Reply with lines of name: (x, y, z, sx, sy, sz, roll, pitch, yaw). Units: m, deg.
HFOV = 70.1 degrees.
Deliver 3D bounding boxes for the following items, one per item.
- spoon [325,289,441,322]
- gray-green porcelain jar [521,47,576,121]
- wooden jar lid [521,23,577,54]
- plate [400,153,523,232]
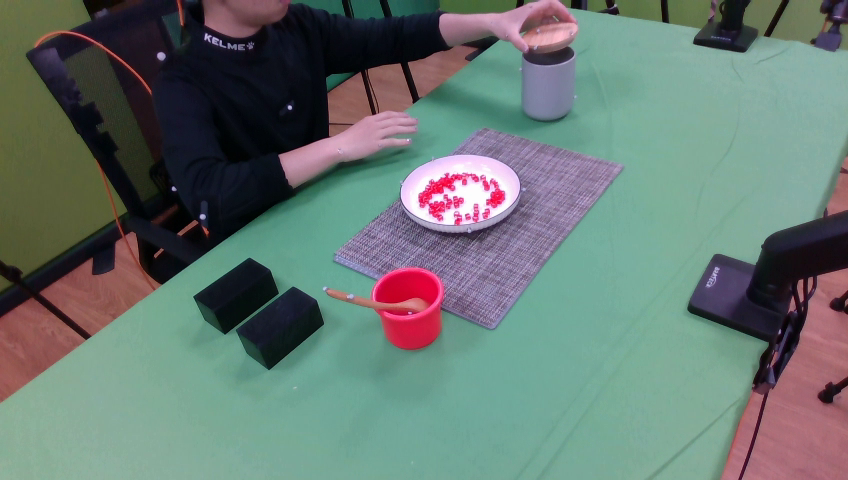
spoon: (-0.047, 0.084, 0.776, 0.195, 0.021, 0.041, 13, 26, -42)
gray-green porcelain jar: (0.249, -0.313, 1.219, 0.106, 0.127, 0.105, -4, 41, 4)
wooden jar lid: (0.243, -0.389, 1.171, 0.108, 0.021, 0.108, -10, 39, 9)
plate: (0.065, -0.078, 1.034, 0.207, 0.039, 0.206, -4, 41, 4)
